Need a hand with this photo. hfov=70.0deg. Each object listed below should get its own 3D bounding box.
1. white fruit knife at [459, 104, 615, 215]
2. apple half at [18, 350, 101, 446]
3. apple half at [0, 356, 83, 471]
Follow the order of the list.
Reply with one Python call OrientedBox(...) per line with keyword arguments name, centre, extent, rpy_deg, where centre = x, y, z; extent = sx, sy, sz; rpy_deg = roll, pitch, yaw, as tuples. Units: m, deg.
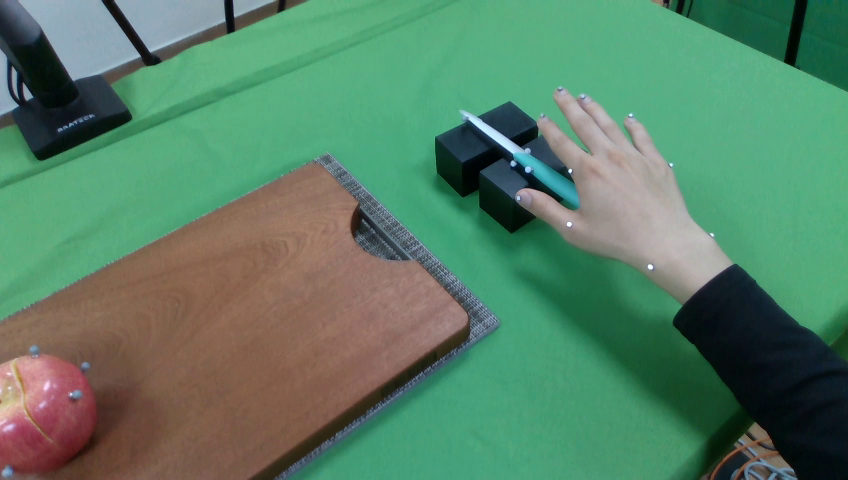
OrientedBox(name="white fruit knife", centre=(0.101, -0.085, 0.593), extent=(0.027, 0.016, 0.205), rpy_deg=(-9, 41, -42))
OrientedBox(name="apple half", centre=(-0.259, 0.112, 0.447), extent=(0.033, 0.082, 0.080), rpy_deg=(-32, 55, -18))
OrientedBox(name="apple half", centre=(-0.291, 0.132, 0.435), extent=(0.053, 0.075, 0.080), rpy_deg=(-33, 59, -16))
